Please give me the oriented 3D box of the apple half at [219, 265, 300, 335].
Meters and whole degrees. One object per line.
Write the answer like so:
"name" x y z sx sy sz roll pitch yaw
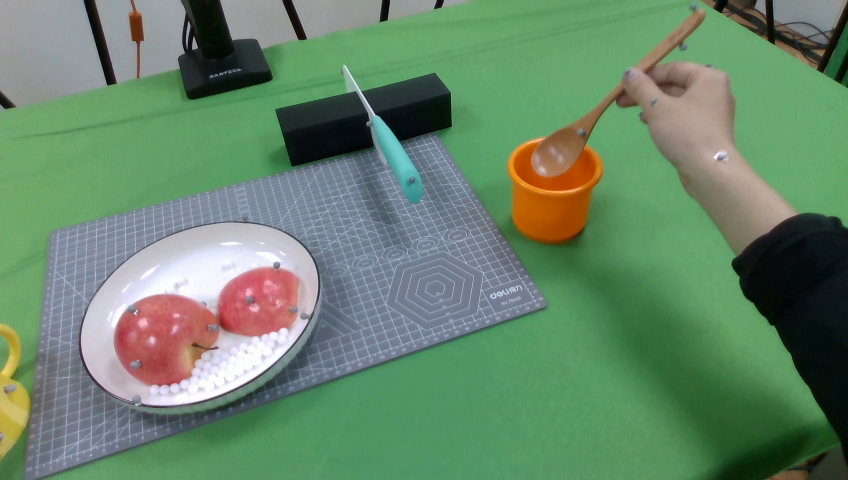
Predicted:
"apple half" -0.152 0.048 0.552 0.081 0.033 0.080 -1 48 2

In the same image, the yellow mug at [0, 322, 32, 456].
"yellow mug" -0.376 0.123 0.489 0.099 0.064 0.130 9 46 11

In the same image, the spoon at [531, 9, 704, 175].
"spoon" 0.171 -0.129 0.547 0.022 0.194 0.041 -3 55 -50

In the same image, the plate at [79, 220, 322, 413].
"plate" -0.194 0.066 0.547 0.209 0.038 0.207 -2 46 2

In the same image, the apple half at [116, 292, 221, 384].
"apple half" -0.222 0.075 0.518 0.074 0.054 0.080 16 50 22

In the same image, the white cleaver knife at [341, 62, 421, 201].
"white cleaver knife" -0.054 -0.128 0.705 0.021 0.066 0.283 -20 44 -8
